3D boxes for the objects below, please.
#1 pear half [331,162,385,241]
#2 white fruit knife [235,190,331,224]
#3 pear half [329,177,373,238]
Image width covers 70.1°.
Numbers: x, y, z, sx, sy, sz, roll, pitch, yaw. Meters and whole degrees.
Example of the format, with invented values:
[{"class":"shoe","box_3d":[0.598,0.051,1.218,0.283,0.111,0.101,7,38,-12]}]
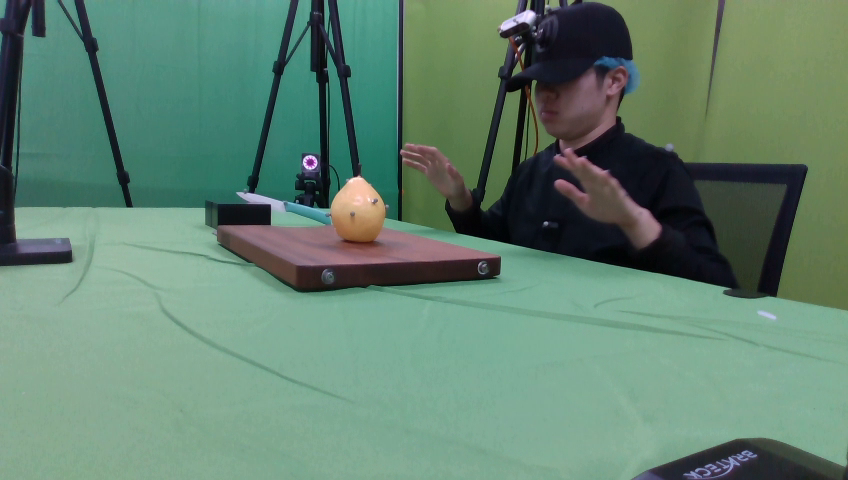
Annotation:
[{"class":"pear half","box_3d":[-0.085,-0.052,0.839,0.055,0.110,0.077,10,14,42]},{"class":"white fruit knife","box_3d":[-0.286,-0.070,1.245,0.208,0.027,0.016,15,-4,-30]},{"class":"pear half","box_3d":[-0.109,-0.047,0.866,0.031,0.088,0.071,8,12,43]}]
